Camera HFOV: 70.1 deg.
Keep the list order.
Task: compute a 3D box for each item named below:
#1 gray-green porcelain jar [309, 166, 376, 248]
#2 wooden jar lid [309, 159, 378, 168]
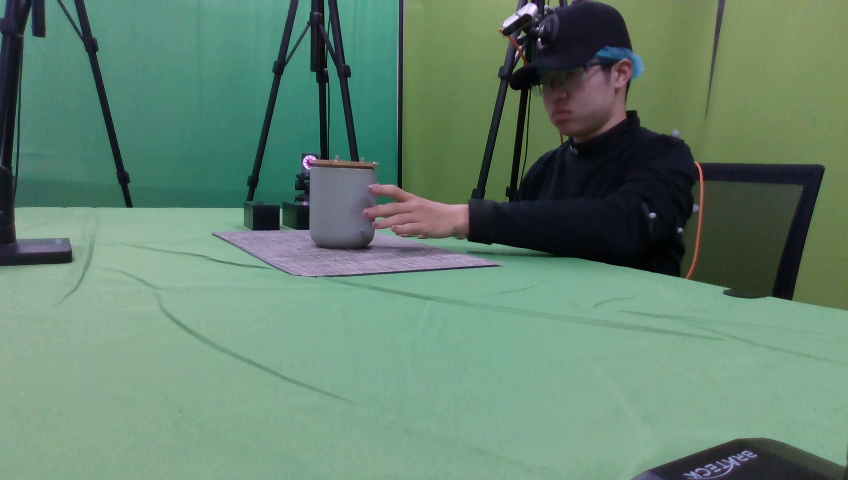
[{"bbox_3d":[-0.130,-0.054,0.966,0.106,0.126,0.106,2,8,0],"label":"gray-green porcelain jar"},{"bbox_3d":[-0.128,-0.117,0.957,0.108,0.020,0.108,4,7,0],"label":"wooden jar lid"}]
